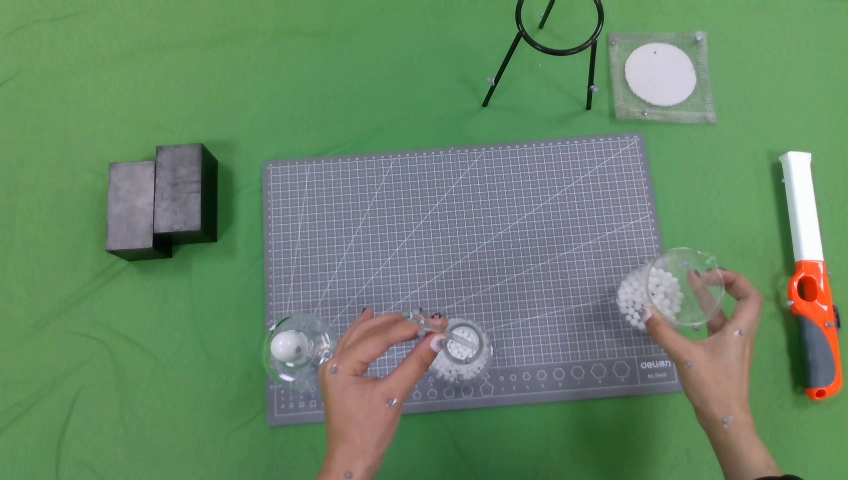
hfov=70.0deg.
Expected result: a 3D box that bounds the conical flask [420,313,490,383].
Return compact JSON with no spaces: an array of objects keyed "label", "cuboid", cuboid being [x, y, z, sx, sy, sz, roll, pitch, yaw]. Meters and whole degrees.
[{"label":"conical flask","cuboid":[0.033,0.103,0.603,0.075,0.122,0.075,0,76,1]}]

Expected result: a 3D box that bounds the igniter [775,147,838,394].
[{"label":"igniter","cuboid":[0.422,0.029,0.671,0.057,0.025,0.275,3,77,-10]}]

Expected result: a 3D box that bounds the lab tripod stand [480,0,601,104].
[{"label":"lab tripod stand","cuboid":[0.132,-0.214,0.674,0.148,0.132,0.147,0,79,1]}]

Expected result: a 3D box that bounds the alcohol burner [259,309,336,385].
[{"label":"alcohol burner","cuboid":[-0.131,0.105,0.606,0.078,0.119,0.077,-1,76,2]}]

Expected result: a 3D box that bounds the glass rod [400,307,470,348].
[{"label":"glass rod","cuboid":[0.014,0.073,0.487,0.008,0.201,0.008,-4,73,15]}]

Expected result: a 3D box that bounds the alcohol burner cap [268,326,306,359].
[{"label":"alcohol burner cap","cuboid":[-0.131,0.096,0.571,0.034,0.048,0.033,1,80,-3]}]

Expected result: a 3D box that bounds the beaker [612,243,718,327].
[{"label":"beaker","cuboid":[0.239,0.048,0.611,0.084,0.100,0.074,-41,81,-10]}]

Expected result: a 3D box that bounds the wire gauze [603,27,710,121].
[{"label":"wire gauze","cuboid":[0.283,-0.204,0.736,0.125,0.011,0.121,1,77,-2]}]
